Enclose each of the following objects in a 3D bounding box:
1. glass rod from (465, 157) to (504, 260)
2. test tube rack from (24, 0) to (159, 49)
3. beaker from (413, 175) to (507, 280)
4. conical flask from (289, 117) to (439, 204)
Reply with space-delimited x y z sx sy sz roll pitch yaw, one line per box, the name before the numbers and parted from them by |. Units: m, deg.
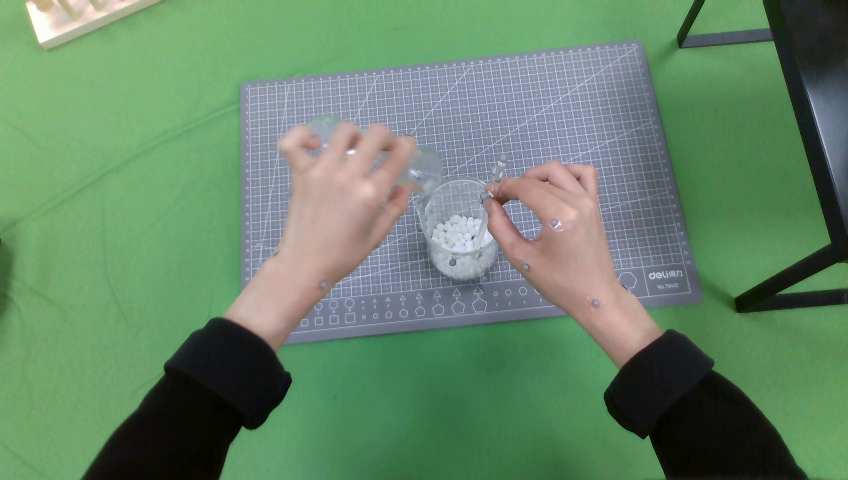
glass rod | 0.047 -0.019 0.504 0.008 0.201 0.008 1 69 -2
test tube rack | -0.353 -0.317 0.691 0.242 0.086 0.066 -26 73 -6
beaker | 0.032 -0.007 0.566 0.084 0.101 0.073 17 73 10
conical flask | -0.046 -0.062 0.497 0.121 0.076 0.075 10 70 38
